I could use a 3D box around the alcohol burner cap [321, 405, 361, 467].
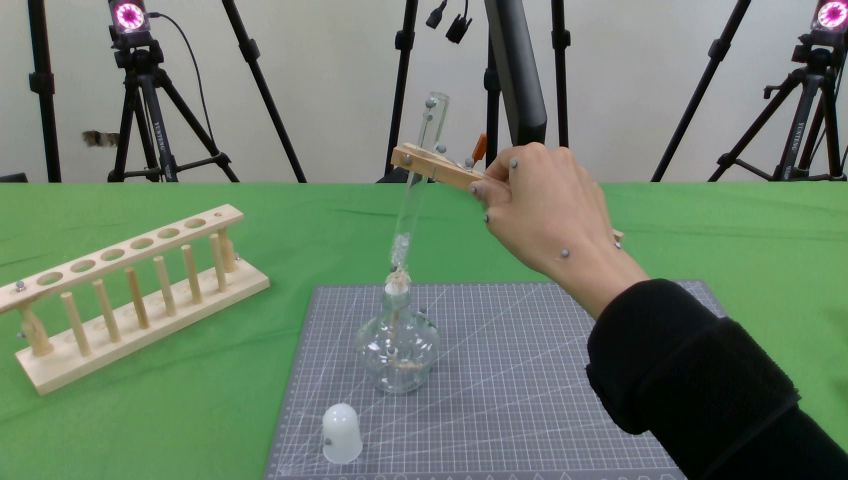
[{"bbox_3d":[-0.069,0.155,0.488,0.034,0.048,0.033,0,31,0],"label":"alcohol burner cap"}]

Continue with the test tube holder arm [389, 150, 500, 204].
[{"bbox_3d":[0.015,-0.047,0.450,0.087,0.015,0.010,20,32,13],"label":"test tube holder arm"}]

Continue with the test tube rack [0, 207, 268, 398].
[{"bbox_3d":[-0.288,0.053,0.622,0.242,0.086,0.066,-27,40,-37],"label":"test tube rack"}]

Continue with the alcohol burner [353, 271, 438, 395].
[{"bbox_3d":[-0.026,0.080,0.543,0.078,0.120,0.077,0,29,0],"label":"alcohol burner"}]

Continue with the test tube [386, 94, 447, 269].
[{"bbox_3d":[-0.008,-0.040,0.470,0.017,0.151,0.017,12,30,-7],"label":"test tube"}]

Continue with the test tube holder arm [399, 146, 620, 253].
[{"bbox_3d":[0.057,-0.032,0.441,0.177,0.015,0.013,25,34,20],"label":"test tube holder arm"}]
